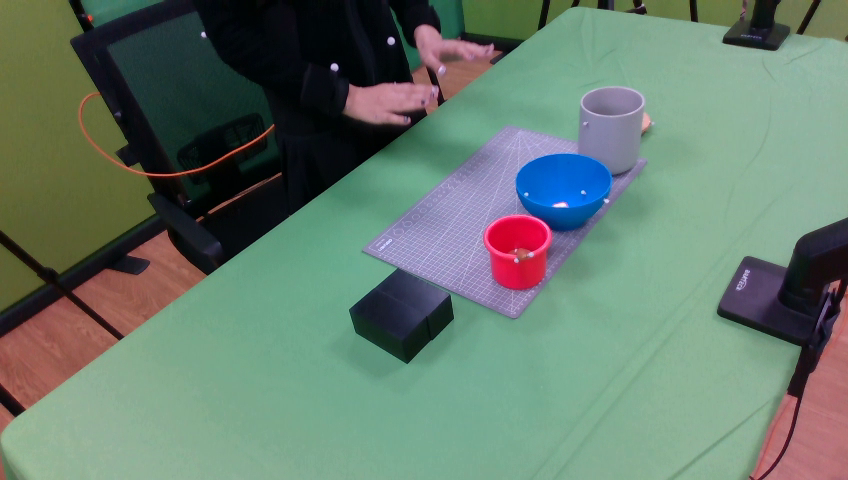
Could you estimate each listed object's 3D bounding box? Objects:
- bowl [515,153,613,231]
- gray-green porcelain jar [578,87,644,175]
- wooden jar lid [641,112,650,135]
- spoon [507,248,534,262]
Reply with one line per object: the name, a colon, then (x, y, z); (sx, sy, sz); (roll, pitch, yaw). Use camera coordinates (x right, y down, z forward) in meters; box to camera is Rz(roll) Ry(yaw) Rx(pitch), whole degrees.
bowl: (0.224, -0.068, 0.972); (0.151, 0.077, 0.150); (-5, 40, 5)
gray-green porcelain jar: (0.324, -0.185, 1.055); (0.106, 0.127, 0.105); (-5, 40, 5)
wooden jar lid: (0.382, -0.225, 1.178); (0.108, 0.021, 0.108); (-5, 40, 4)
spoon: (0.135, 0.020, 0.835); (0.041, 0.021, 0.194); (-3, -4, 8)
